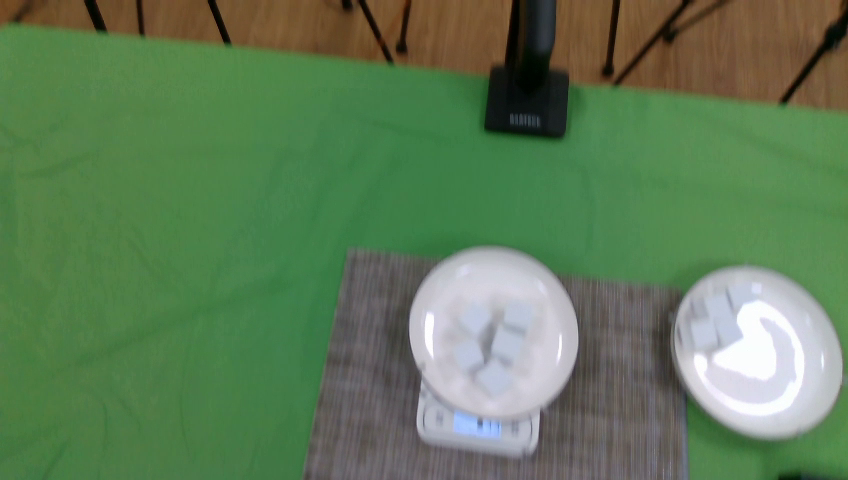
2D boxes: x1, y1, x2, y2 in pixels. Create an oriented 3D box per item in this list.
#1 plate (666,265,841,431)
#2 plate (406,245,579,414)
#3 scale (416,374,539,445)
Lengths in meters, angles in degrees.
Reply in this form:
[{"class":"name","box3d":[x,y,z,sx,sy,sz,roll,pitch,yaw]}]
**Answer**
[{"class":"plate","box3d":[0.407,0.134,0.762,0.208,0.039,0.206,0,68,1]},{"class":"plate","box3d":[0.083,0.107,0.741,0.209,0.038,0.207,0,68,0]},{"class":"scale","box3d":[0.074,0.146,0.762,0.148,0.032,0.199,7,68,4]}]
